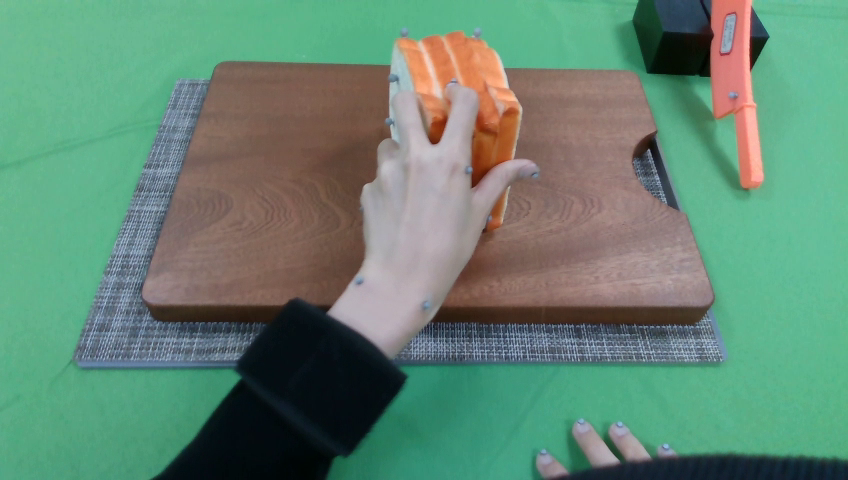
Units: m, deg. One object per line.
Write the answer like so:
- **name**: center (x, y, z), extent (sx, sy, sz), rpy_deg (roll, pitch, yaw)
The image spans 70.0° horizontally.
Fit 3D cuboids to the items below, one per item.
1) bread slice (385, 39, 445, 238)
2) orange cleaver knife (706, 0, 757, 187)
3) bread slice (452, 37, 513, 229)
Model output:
- **bread slice**: center (-0.010, -0.082, 0.449), extent (0.018, 0.108, 0.133), rpy_deg (-6, 44, -12)
- **orange cleaver knife**: center (0.281, -0.146, 0.560), extent (0.012, 0.077, 0.210), rpy_deg (2, 81, -1)
- **bread slice**: center (0.040, -0.090, 0.454), extent (0.019, 0.106, 0.130), rpy_deg (-5, 46, -6)
